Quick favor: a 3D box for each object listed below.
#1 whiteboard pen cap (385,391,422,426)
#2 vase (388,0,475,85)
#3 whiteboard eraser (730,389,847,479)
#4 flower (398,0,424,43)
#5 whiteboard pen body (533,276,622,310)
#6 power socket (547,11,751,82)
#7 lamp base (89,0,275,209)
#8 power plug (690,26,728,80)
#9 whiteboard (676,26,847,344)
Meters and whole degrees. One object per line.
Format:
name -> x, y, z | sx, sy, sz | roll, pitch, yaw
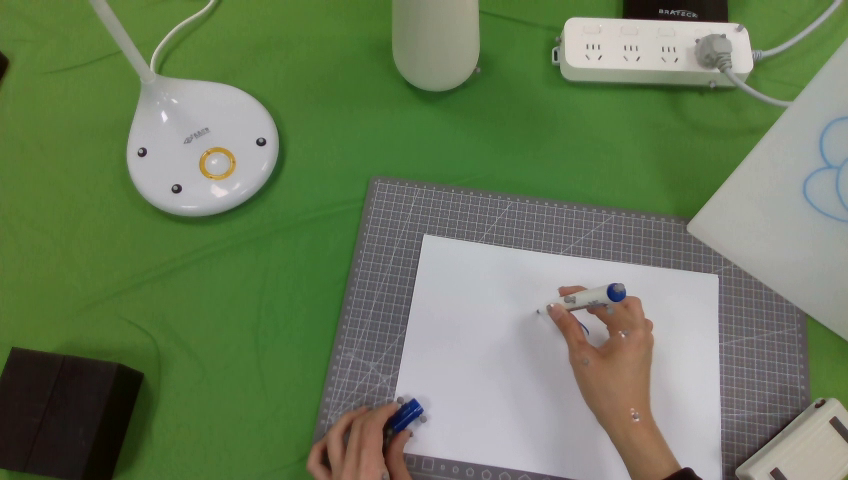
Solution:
whiteboard pen cap -> -0.018, 0.154, 0.556 | 0.033, 0.018, 0.018 | -37, 72, -19
vase -> 0.006, -0.248, 0.613 | 0.098, 0.201, 0.097 | -1, 68, 2
whiteboard eraser -> 0.326, 0.184, 0.529 | 0.112, 0.042, 0.055 | -34, 72, -11
flower -> 0.023, -0.267, 0.533 | 0.044, 0.361, 0.038 | -34, 89, -20
whiteboard pen body -> 0.128, 0.049, 0.531 | 0.017, 0.141, 0.017 | 4, 77, -16
power socket -> 0.256, -0.220, 0.689 | 0.227, 0.033, 0.071 | 3, 70, 1
lamp base -> -0.252, -0.142, 0.585 | 0.178, 0.181, 0.160 | 40, 74, 17
power plug -> 0.305, -0.198, 0.657 | 0.035, 0.053, 0.072 | 13, 76, 5
whiteboard -> 0.417, -0.079, 0.522 | 0.216, 0.307, 0.143 | 38, 53, 15
